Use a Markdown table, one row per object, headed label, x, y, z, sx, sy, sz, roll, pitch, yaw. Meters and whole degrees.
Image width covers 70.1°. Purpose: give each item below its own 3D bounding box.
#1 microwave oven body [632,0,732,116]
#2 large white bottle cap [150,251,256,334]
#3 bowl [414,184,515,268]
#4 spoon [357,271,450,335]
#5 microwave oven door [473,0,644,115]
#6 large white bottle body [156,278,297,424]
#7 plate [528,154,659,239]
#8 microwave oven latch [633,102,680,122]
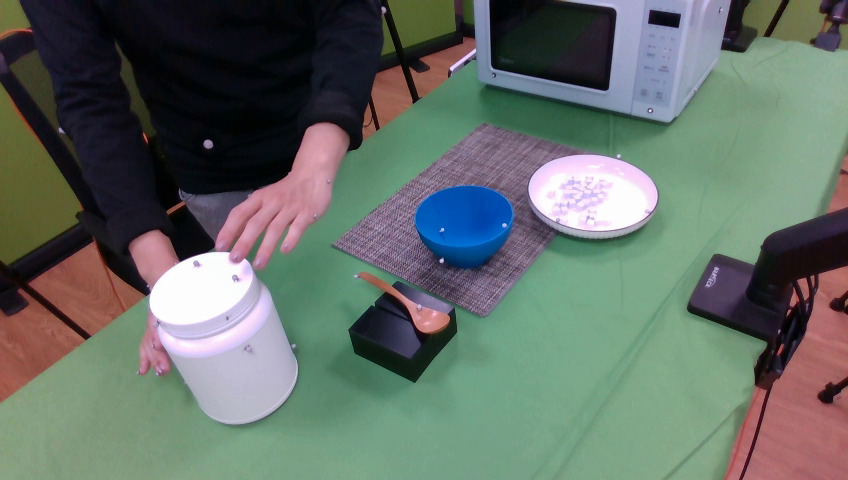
| label | x | y | z | sx | sy | sz | roll | pitch | yaw |
| --- | --- | --- | --- | --- | --- | --- | --- | --- | --- |
| microwave oven body | 0.377 | -0.462 | 1.267 | 0.438 | 0.261 | 0.327 | 21 | 48 | 30 |
| large white bottle cap | -0.248 | 0.056 | 0.680 | 0.115 | 0.018 | 0.114 | -4 | 42 | 4 |
| bowl | 0.063 | -0.010 | 0.922 | 0.151 | 0.077 | 0.150 | -4 | 40 | 4 |
| spoon | -0.034 | 0.078 | 0.812 | 0.042 | 0.022 | 0.192 | -36 | 43 | -23 |
| microwave oven door | 0.257 | -0.396 | 1.199 | 0.353 | 0.245 | 0.039 | 21 | 48 | 29 |
| large white bottle body | -0.239 | 0.120 | 0.736 | 0.130 | 0.185 | 0.130 | -4 | 41 | 4 |
| plate | 0.274 | -0.069 | 0.993 | 0.209 | 0.038 | 0.208 | -2 | 42 | 2 |
| microwave oven latch | 0.444 | -0.249 | 1.157 | 0.078 | 0.029 | 0.030 | 21 | 49 | 30 |
